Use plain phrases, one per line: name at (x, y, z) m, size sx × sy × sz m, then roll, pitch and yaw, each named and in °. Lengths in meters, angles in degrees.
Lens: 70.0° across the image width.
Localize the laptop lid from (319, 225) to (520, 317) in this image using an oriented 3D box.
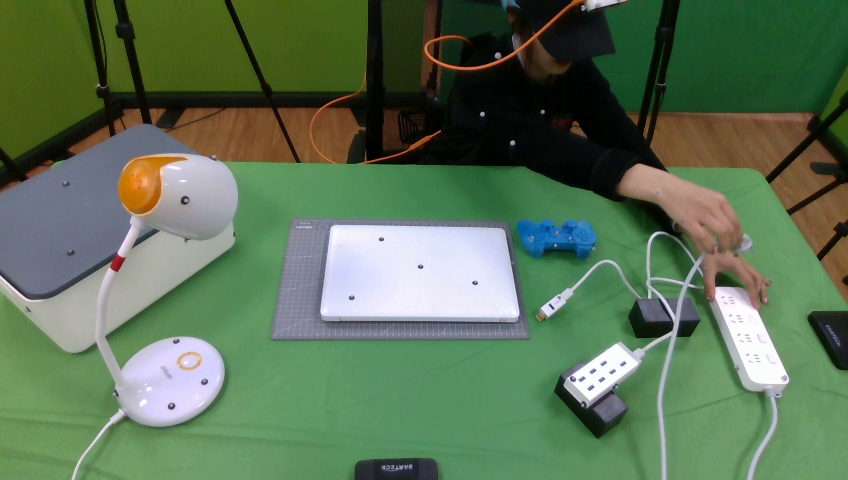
laptop lid at (-0.008, 0.052, 1.131) m, size 0.357 × 0.013 × 0.240 m, roll 2°, pitch 44°, yaw -2°

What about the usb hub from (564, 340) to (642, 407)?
usb hub at (0.280, 0.206, 0.944) m, size 0.125 × 0.025 × 0.049 m, roll -26°, pitch 52°, yaw -27°

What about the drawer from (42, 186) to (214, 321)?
drawer at (-0.529, 0.018, 1.097) m, size 0.194 × 0.073 × 0.211 m, roll 29°, pitch 53°, yaw 20°

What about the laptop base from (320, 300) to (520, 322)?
laptop base at (-0.009, 0.062, 1.138) m, size 0.354 × 0.023 × 0.234 m, roll 1°, pitch 42°, yaw -3°

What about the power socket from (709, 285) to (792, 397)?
power socket at (0.568, 0.167, 1.064) m, size 0.072 × 0.033 × 0.225 m, roll 2°, pitch 46°, yaw -1°

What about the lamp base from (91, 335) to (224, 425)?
lamp base at (-0.401, 0.170, 0.892) m, size 0.160 × 0.181 × 0.179 m, roll 30°, pitch 53°, yaw 23°

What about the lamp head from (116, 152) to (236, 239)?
lamp head at (-0.315, -0.057, 0.748) m, size 0.112 × 0.112 × 0.123 m, roll 26°, pitch 10°, yaw 20°

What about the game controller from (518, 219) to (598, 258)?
game controller at (0.269, -0.012, 1.210) m, size 0.155 × 0.052 × 0.096 m, roll 1°, pitch 51°, yaw -2°

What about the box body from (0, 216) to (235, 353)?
box body at (-0.550, -0.007, 1.068) m, size 0.253 × 0.161 × 0.363 m, roll 30°, pitch 51°, yaw 23°

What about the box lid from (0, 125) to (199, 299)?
box lid at (-0.540, -0.068, 1.016) m, size 0.262 × 0.015 × 0.371 m, roll 30°, pitch 51°, yaw 23°

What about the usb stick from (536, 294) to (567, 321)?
usb stick at (0.226, 0.122, 1.083) m, size 0.059 × 0.027 × 0.021 m, roll -38°, pitch 75°, yaw -8°

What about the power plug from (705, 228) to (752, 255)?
power plug at (0.487, 0.005, 0.974) m, size 0.072 × 0.053 × 0.035 m, roll -9°, pitch 43°, yaw 16°
